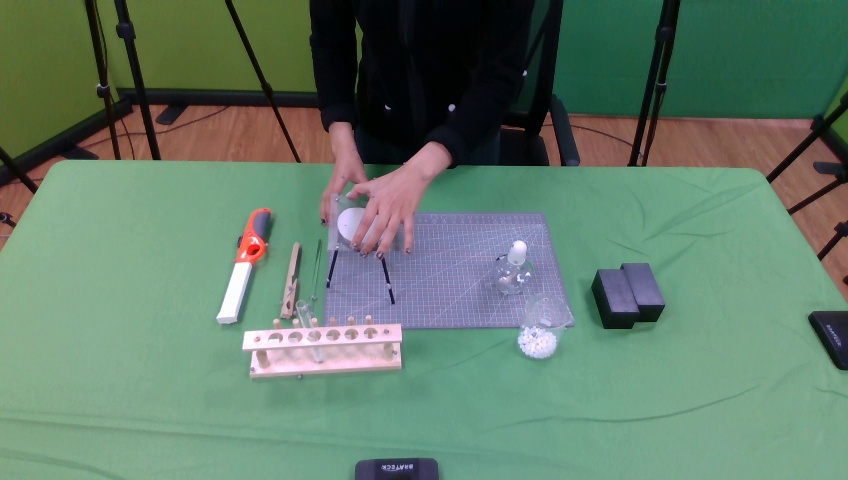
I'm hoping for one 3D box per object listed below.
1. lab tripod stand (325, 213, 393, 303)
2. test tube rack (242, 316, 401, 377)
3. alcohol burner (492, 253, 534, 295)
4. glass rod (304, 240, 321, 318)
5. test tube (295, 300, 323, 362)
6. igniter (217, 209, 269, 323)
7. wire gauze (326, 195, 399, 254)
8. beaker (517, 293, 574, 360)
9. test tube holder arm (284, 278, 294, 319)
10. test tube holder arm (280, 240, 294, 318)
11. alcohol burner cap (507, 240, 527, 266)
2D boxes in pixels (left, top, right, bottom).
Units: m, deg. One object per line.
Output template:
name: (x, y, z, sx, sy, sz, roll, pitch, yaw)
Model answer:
lab tripod stand: (-0.104, 0.031, 1.080, 0.148, 0.132, 0.147, 4, 45, -4)
test tube rack: (-0.161, 0.166, 0.983, 0.242, 0.085, 0.066, -2, 46, -6)
alcohol burner: (0.165, 0.045, 1.102, 0.078, 0.119, 0.077, 3, 47, -3)
glass rod: (-0.207, 0.068, 1.128, 0.008, 0.008, 0.198, 2, 43, -2)
test tube: (-0.176, 0.143, 0.935, 0.017, 0.151, 0.017, -2, 46, 2)
igniter: (-0.335, 0.039, 1.132, 0.057, 0.025, 0.275, -3, 46, 6)
wire gauze: (-0.104, -0.026, 1.030, 0.122, 0.011, 0.124, 6, 48, -13)
beaker: (0.200, 0.149, 1.018, 0.084, 0.101, 0.073, 14, 47, 8)
test tube holder arm: (-0.243, 0.103, 1.085, 0.010, 0.015, 0.087, 30, 36, -32)
test tube holder arm: (-0.251, 0.068, 1.113, 0.013, 0.015, 0.177, 29, 37, -33)
alcohol burner cap: (0.167, 0.021, 1.075, 0.034, 0.048, 0.033, 0, 55, 0)
